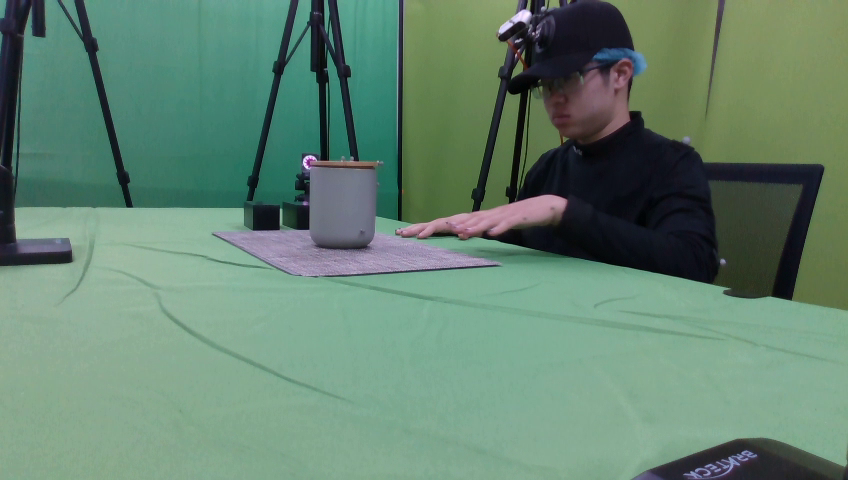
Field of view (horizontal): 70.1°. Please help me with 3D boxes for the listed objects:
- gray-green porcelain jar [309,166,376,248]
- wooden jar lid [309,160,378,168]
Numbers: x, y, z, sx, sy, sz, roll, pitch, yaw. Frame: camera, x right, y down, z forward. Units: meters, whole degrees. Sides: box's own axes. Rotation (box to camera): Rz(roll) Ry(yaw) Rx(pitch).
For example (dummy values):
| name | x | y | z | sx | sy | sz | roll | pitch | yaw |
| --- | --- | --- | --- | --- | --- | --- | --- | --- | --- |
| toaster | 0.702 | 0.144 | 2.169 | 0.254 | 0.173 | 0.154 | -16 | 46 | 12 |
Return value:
| name | x | y | z | sx | sy | sz | roll | pitch | yaw |
| --- | --- | --- | --- | --- | --- | --- | --- | --- | --- |
| gray-green porcelain jar | -0.130 | -0.054 | 0.965 | 0.106 | 0.126 | 0.106 | 2 | 7 | 0 |
| wooden jar lid | -0.127 | -0.117 | 0.957 | 0.108 | 0.020 | 0.108 | 1 | 7 | 0 |
